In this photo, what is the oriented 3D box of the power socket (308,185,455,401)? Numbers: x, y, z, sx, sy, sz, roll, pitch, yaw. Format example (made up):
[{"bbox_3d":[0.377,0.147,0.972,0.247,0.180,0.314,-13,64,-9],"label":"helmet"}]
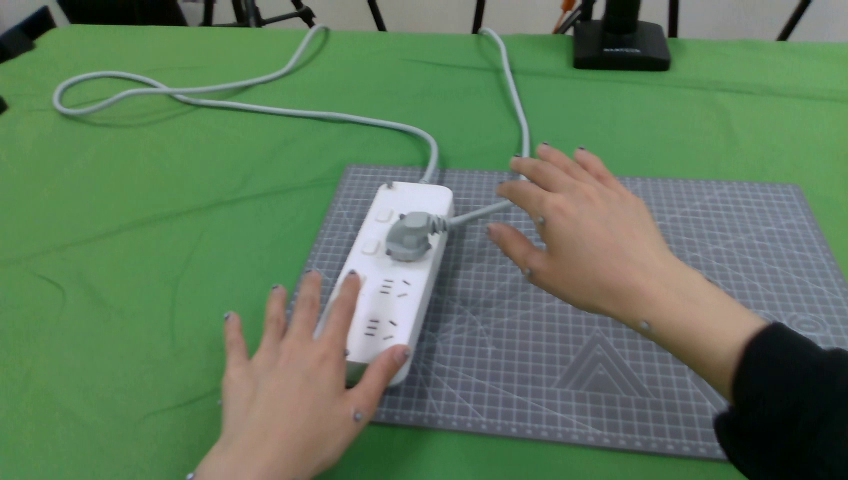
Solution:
[{"bbox_3d":[-0.028,0.028,0.500,0.072,0.033,0.225,7,43,12],"label":"power socket"}]

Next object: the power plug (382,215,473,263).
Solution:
[{"bbox_3d":[0.000,0.008,0.485,0.072,0.053,0.035,13,46,20],"label":"power plug"}]
